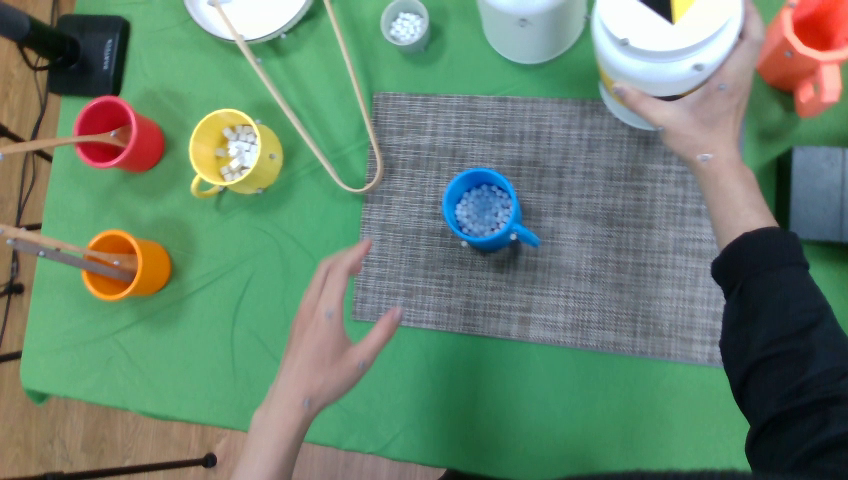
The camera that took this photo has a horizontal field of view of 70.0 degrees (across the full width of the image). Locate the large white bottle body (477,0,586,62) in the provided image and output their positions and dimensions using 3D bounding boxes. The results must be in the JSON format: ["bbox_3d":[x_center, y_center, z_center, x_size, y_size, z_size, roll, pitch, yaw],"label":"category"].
[{"bbox_3d":[0.119,-0.295,0.681,0.130,0.185,0.130,-1,84,12],"label":"large white bottle body"}]

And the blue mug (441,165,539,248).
[{"bbox_3d":[0.082,-0.027,0.704,0.116,0.106,0.082,32,92,12],"label":"blue mug"}]

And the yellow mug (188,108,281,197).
[{"bbox_3d":[-0.260,-0.106,0.802,0.099,0.064,0.131,45,96,11],"label":"yellow mug"}]

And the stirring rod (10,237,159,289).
[{"bbox_3d":[-0.435,0.032,0.785,0.006,0.178,0.014,-9,63,53],"label":"stirring rod"}]

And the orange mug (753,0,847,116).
[{"bbox_3d":[0.421,-0.203,0.658,0.083,0.101,0.125,-4,80,11],"label":"orange mug"}]

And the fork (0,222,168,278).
[{"bbox_3d":[-0.441,0.012,0.785,0.209,0.018,0.028,20,88,-31],"label":"fork"}]

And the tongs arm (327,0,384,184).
[{"bbox_3d":[-0.115,-0.260,0.784,0.028,0.028,0.387,-19,89,0],"label":"tongs arm"}]

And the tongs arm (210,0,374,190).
[{"bbox_3d":[-0.190,-0.220,0.792,0.051,0.026,0.384,-33,87,3],"label":"tongs arm"}]

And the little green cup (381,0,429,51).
[{"bbox_3d":[-0.022,-0.276,0.782,0.061,0.039,0.061,-1,86,11],"label":"little green cup"}]

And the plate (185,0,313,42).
[{"bbox_3d":[-0.232,-0.371,0.832,0.207,0.039,0.207,-1,86,11],"label":"plate"}]

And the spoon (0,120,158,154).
[{"bbox_3d":[-0.456,-0.135,0.804,0.194,0.021,0.041,-13,78,-35],"label":"spoon"}]

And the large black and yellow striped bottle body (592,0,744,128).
[{"bbox_3d":[0.237,-0.201,0.599,0.130,0.185,0.130,-3,80,19],"label":"large black and yellow striped bottle body"}]

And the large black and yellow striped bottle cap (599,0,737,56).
[{"bbox_3d":[0.209,-0.216,0.521,0.114,0.019,0.114,-3,81,17],"label":"large black and yellow striped bottle cap"}]
